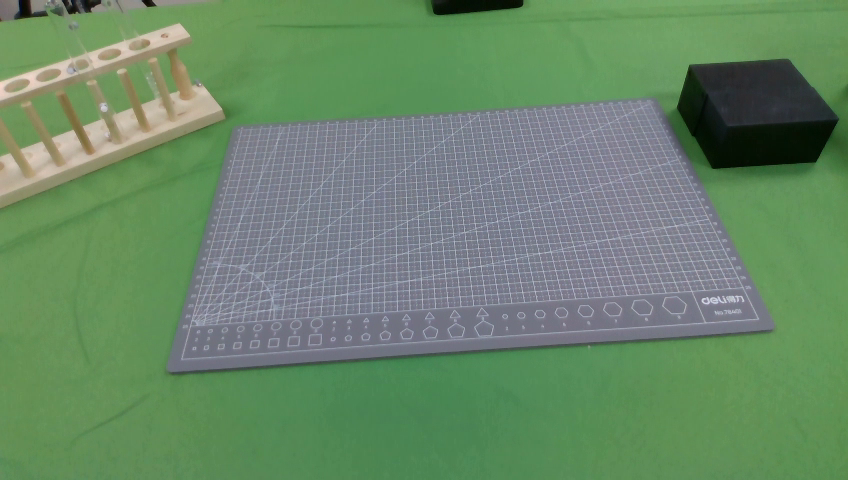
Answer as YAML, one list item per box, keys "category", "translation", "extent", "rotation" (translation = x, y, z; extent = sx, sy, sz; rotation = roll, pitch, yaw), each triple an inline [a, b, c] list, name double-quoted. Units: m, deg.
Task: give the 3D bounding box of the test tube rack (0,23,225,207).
- category: "test tube rack"
  translation: [-0.336, -0.126, 0.603]
  extent: [0.242, 0.086, 0.066]
  rotation: [-28, 52, -21]

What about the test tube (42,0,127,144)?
- category: "test tube"
  translation: [-0.314, -0.153, 0.566]
  extent: [0.017, 0.152, 0.017]
  rotation: [-1, 47, 2]

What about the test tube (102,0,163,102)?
- category: "test tube"
  translation: [-0.290, -0.200, 0.600]
  extent: [0.017, 0.152, 0.017]
  rotation: [-3, 50, 4]
